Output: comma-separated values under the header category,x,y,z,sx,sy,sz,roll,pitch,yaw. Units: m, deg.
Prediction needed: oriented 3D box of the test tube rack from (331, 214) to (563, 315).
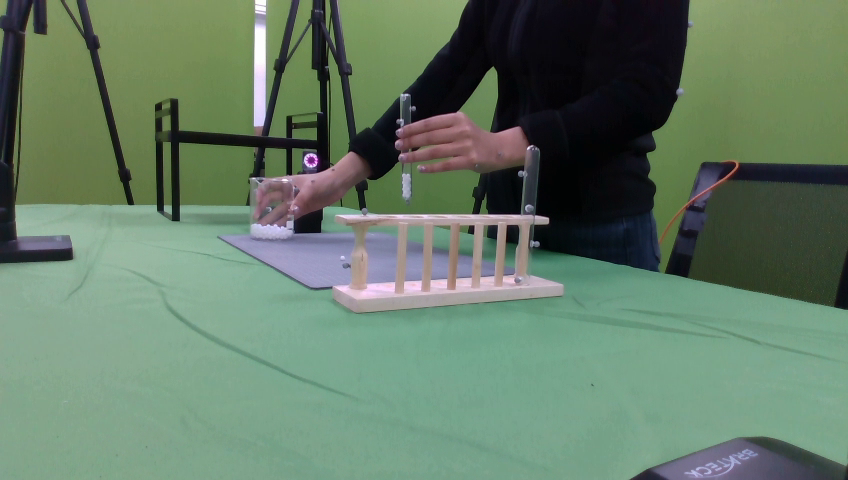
category,x,y,z,sx,sy,sz,roll,pitch,yaw
test tube rack,0.031,0.019,0.625,0.243,0.085,0.066,-1,8,-28

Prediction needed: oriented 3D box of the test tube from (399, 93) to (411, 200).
category,x,y,z,sx,sy,sz,roll,pitch,yaw
test tube,-0.027,-0.132,0.858,0.017,0.150,0.017,0,10,0

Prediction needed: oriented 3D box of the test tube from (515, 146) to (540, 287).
category,x,y,z,sx,sy,sz,roll,pitch,yaw
test tube,0.109,-0.024,0.638,0.017,0.150,0.017,3,6,0

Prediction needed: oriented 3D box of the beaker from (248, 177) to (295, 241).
category,x,y,z,sx,sy,sz,roll,pitch,yaw
beaker,-0.252,-0.051,0.992,0.074,0.100,0.084,3,9,7
